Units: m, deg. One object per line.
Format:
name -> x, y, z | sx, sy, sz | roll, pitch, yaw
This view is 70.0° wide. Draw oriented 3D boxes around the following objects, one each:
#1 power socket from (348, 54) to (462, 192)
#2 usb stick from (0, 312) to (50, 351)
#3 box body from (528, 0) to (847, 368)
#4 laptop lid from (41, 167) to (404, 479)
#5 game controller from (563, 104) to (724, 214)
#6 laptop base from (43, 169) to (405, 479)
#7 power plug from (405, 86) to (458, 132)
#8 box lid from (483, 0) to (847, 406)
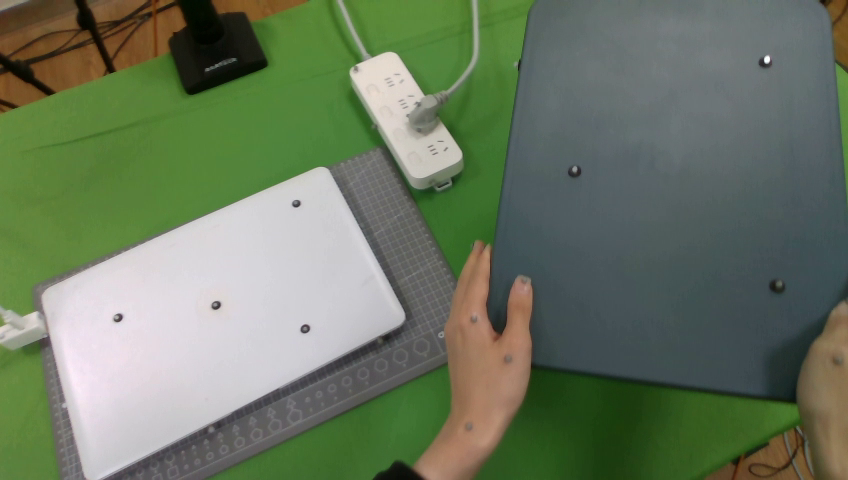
power socket -> -0.028, -0.156, 0.779 | 0.072, 0.033, 0.224 | -25, 63, -10
usb stick -> -0.433, 0.098, 0.667 | 0.059, 0.027, 0.021 | -22, 57, -11
box body -> 0.245, -0.063, 0.636 | 0.254, 0.162, 0.361 | 6, 63, 7
laptop lid -> -0.226, 0.074, 0.666 | 0.357, 0.013, 0.239 | -25, 66, -9
game controller -> 0.233, -0.092, 0.632 | 0.154, 0.052, 0.096 | 19, 57, 13
laptop base -> -0.226, 0.077, 0.677 | 0.354, 0.023, 0.233 | -26, 67, -10
power plug -> 0.012, -0.154, 0.750 | 0.072, 0.053, 0.035 | -14, 61, -5
box lid -> 0.199, -0.066, 0.497 | 0.262, 0.015, 0.369 | 6, 68, 11
